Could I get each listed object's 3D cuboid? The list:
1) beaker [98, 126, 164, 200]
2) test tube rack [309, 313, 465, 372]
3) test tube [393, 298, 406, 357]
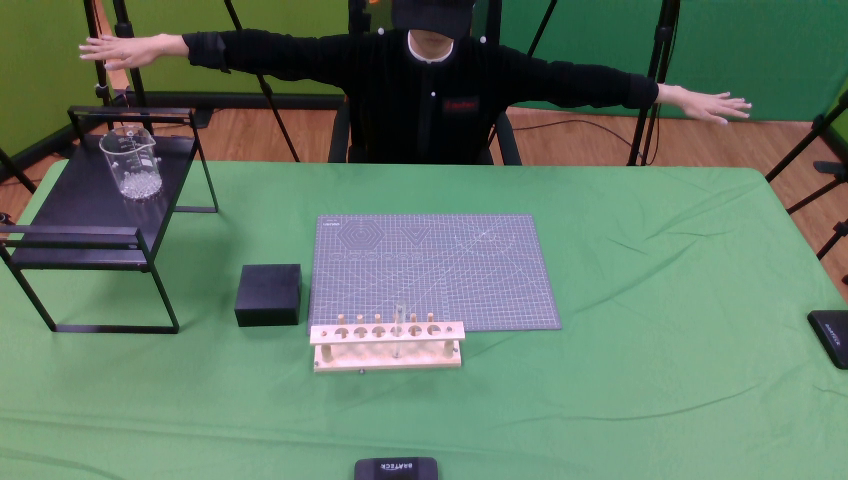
[{"bbox_3d":[-0.464,-0.122,0.977,0.084,0.101,0.073,0,46,-5],"label":"beaker"},{"bbox_3d":[-0.059,0.161,0.990,0.242,0.085,0.066,-1,46,-5],"label":"test tube rack"},{"bbox_3d":[-0.039,0.139,0.943,0.017,0.151,0.017,3,48,-3],"label":"test tube"}]
